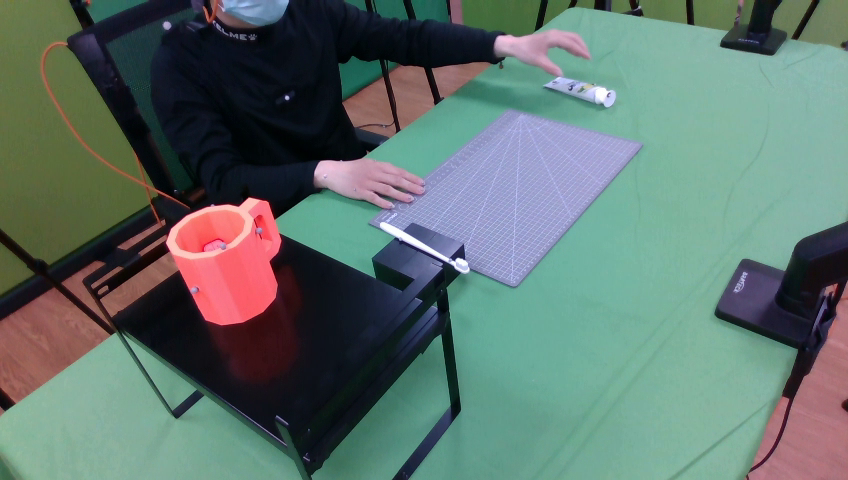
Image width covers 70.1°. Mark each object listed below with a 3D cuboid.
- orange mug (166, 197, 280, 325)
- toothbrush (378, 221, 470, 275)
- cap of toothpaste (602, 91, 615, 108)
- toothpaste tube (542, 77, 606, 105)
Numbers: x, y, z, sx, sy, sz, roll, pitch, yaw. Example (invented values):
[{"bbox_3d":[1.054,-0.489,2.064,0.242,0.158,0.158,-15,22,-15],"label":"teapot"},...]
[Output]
[{"bbox_3d":[-0.203,0.014,0.650,0.083,0.101,0.126,12,48,22],"label":"orange mug"},{"bbox_3d":[-0.004,0.007,0.894,0.180,0.017,0.014,27,55,34],"label":"toothbrush"},{"bbox_3d":[0.378,-0.291,1.246,0.037,0.037,0.011,-31,42,-25],"label":"cap of toothpaste"},{"bbox_3d":[0.333,-0.324,1.300,0.055,0.034,0.163,-27,41,-27],"label":"toothpaste tube"}]
